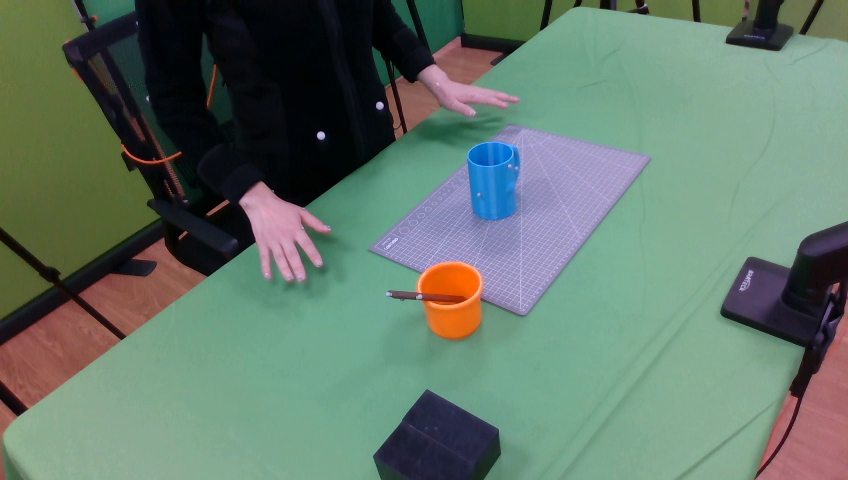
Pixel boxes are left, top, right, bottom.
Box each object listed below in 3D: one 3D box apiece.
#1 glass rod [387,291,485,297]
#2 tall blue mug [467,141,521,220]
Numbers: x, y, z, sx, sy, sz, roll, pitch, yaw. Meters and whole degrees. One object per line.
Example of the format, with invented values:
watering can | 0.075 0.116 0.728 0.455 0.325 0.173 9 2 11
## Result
glass rod | 0.022 0.073 0.808 0.008 0.008 0.201 31 16 38
tall blue mug | 0.119 -0.109 1.020 0.077 0.108 0.107 3 42 15
